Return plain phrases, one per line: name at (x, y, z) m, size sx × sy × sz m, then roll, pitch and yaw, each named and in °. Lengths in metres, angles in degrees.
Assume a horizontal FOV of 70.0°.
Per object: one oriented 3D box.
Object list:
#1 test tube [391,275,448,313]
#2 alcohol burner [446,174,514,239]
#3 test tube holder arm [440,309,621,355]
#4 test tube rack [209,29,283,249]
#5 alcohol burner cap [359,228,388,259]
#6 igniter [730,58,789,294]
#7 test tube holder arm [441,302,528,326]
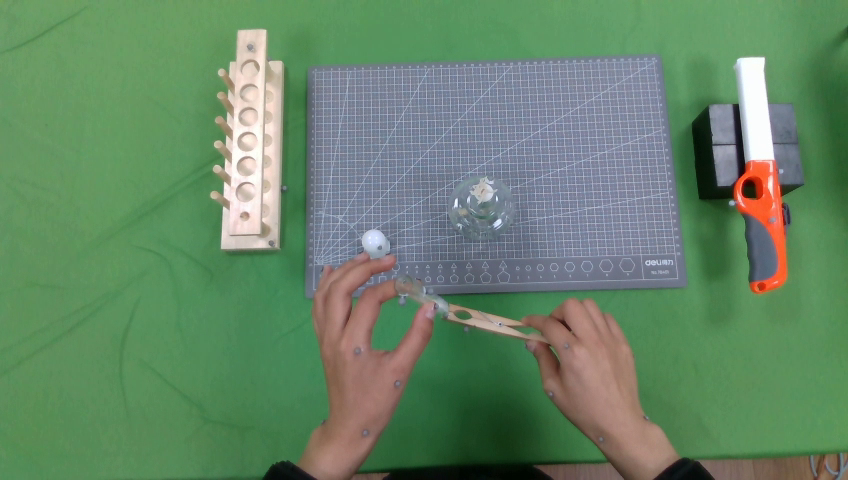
test tube at (0.000, 0.048, 0.513) m, size 0.017 × 0.151 × 0.017 m, roll -3°, pitch 78°, yaw 13°
alcohol burner at (0.063, -0.041, 0.678) m, size 0.078 × 0.119 × 0.077 m, roll 0°, pitch 79°, yaw 2°
test tube holder arm at (0.103, 0.091, 0.600) m, size 0.178 × 0.015 × 0.013 m, roll 12°, pitch 66°, yaw 9°
test tube rack at (-0.212, -0.116, 0.713) m, size 0.067 × 0.085 × 0.241 m, roll -1°, pitch 78°, yaw 1°
alcohol burner cap at (-0.060, 0.002, 0.706) m, size 0.034 × 0.048 × 0.033 m, roll 0°, pitch 77°, yaw 1°
igniter at (0.374, -0.076, 0.682) m, size 0.057 × 0.025 × 0.275 m, roll 0°, pitch 77°, yaw 7°
test tube holder arm at (0.061, 0.077, 0.609) m, size 0.087 × 0.015 × 0.010 m, roll 11°, pitch 66°, yaw 8°
